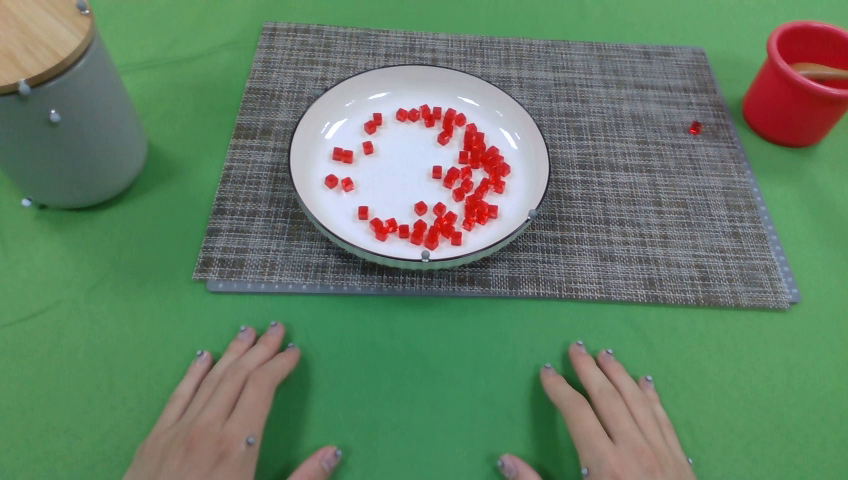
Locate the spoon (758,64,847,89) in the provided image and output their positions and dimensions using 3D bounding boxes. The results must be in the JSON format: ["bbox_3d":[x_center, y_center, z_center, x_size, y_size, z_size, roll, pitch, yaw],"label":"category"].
[{"bbox_3d":[0.371,-0.139,0.505,0.042,0.022,0.192,-22,21,-23],"label":"spoon"}]

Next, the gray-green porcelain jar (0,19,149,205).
[{"bbox_3d":[-0.272,-0.096,0.448,0.106,0.127,0.105,2,56,-3],"label":"gray-green porcelain jar"}]

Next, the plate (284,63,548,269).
[{"bbox_3d":[-0.006,-0.060,0.492,0.208,0.039,0.205,2,56,-3],"label":"plate"}]

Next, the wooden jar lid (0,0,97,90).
[{"bbox_3d":[-0.268,-0.133,0.395,0.108,0.021,0.107,2,59,-3],"label":"wooden jar lid"}]
